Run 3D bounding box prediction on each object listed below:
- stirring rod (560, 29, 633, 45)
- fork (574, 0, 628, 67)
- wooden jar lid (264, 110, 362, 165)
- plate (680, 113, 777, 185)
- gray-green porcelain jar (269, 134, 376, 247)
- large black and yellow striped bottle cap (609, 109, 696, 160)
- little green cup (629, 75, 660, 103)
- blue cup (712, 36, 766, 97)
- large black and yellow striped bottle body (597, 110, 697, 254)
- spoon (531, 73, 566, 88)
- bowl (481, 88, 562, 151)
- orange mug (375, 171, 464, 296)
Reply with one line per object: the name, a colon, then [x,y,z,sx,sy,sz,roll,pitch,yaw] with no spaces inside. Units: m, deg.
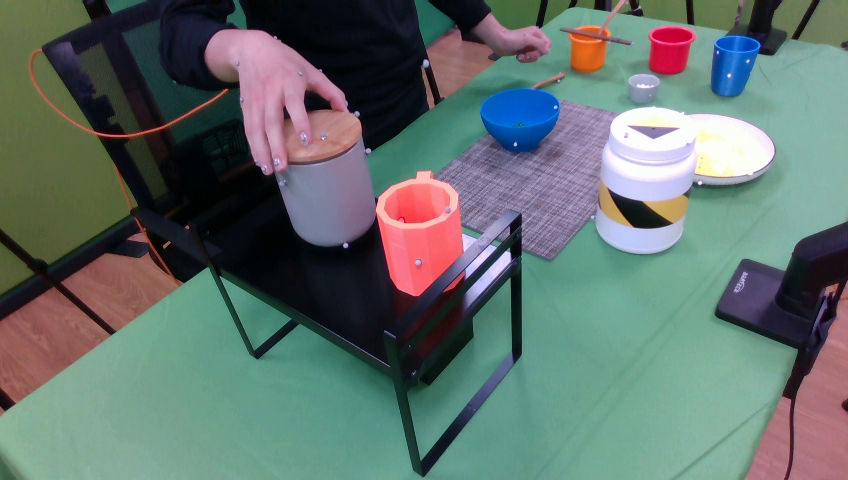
stirring rod: [0.381,-0.452,1.345,0.174,0.006,0.014,25,49,33]
fork: [0.413,-0.481,1.377,0.207,0.019,0.028,-56,43,12]
wooden jar lid: [-0.122,-0.112,0.673,0.108,0.021,0.108,-4,37,4]
plate: [0.506,-0.158,1.073,0.209,0.038,0.208,-5,40,4]
gray-green porcelain jar: [-0.115,-0.064,0.715,0.106,0.127,0.105,-4,40,4]
large black and yellow striped bottle cap: [0.319,-0.150,0.849,0.115,0.019,0.114,-4,39,3]
little green cup: [0.457,-0.314,1.260,0.061,0.039,0.061,-4,40,4]
blue cup: [0.627,-0.350,1.227,0.092,0.100,0.092,-4,39,4]
large black and yellow striped bottle body: [0.331,-0.086,0.904,0.131,0.185,0.130,-5,41,4]
spoon: [0.249,-0.336,1.332,0.194,0.022,0.041,-32,33,-25]
bowl: [0.187,-0.223,1.162,0.151,0.077,0.150,-4,40,4]
orange mug: [-0.001,-0.016,0.662,0.083,0.101,0.125,-2,45,8]
